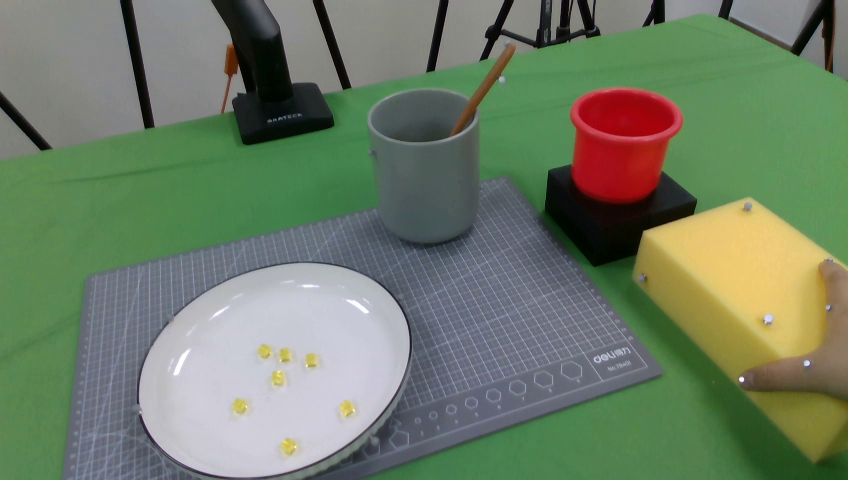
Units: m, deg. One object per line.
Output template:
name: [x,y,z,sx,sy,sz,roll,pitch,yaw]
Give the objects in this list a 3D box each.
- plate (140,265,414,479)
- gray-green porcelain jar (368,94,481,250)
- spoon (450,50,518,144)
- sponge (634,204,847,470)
plate: [-0.110,0.102,0.480,0.207,0.039,0.205,-2,41,2]
gray-green porcelain jar: [0.004,-0.062,0.596,0.106,0.127,0.105,-2,41,2]
spoon: [0.033,-0.092,0.570,0.022,0.194,0.041,19,32,-17]
sponge: [0.285,0.063,0.485,0.118,0.061,0.204,-17,42,-16]
